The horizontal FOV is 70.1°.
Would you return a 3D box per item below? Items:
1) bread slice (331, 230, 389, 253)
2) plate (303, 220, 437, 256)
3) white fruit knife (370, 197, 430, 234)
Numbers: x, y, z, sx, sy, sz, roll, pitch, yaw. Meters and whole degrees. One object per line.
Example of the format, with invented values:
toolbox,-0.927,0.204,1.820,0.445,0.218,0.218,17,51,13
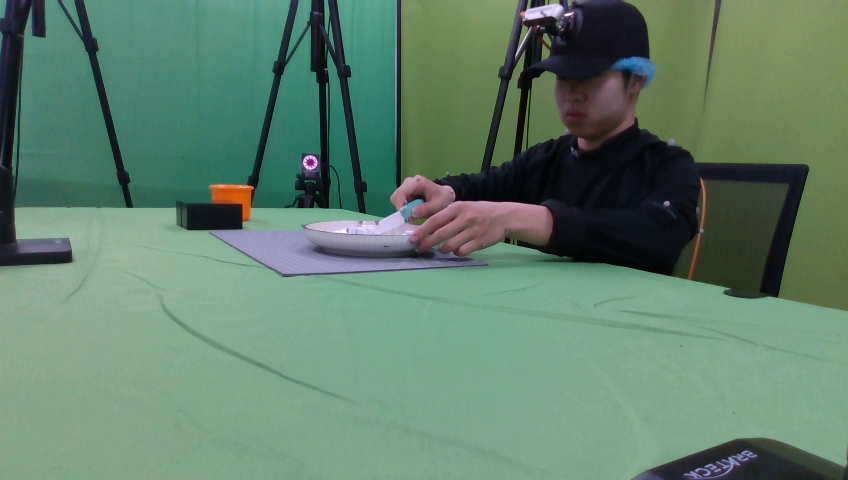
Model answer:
bread slice,-0.088,0.000,0.947,0.105,0.019,0.131,-4,11,-45
plate,-0.084,-0.003,0.951,0.209,0.038,0.209,2,7,0
white fruit knife,-0.036,-0.040,0.975,0.016,0.027,0.208,-7,13,26
